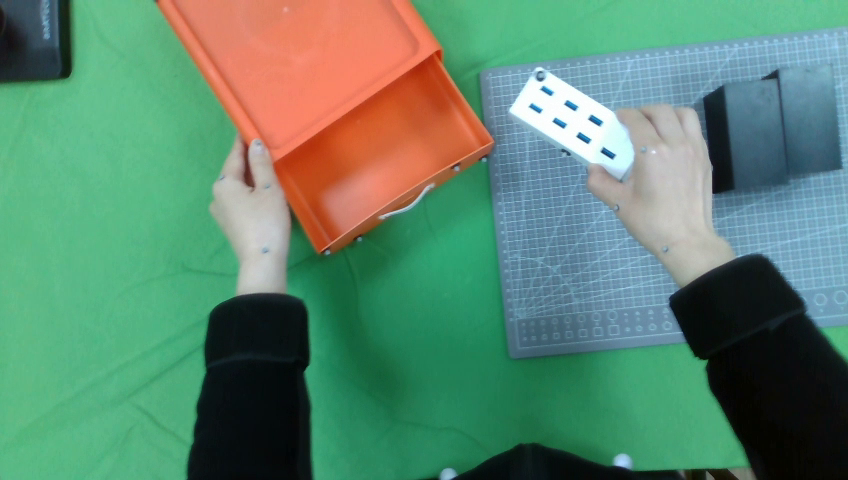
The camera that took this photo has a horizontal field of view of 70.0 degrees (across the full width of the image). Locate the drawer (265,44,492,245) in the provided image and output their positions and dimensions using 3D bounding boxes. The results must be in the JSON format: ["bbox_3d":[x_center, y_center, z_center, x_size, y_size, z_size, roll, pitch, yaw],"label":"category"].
[{"bbox_3d":[-0.071,-0.131,0.594,0.194,0.073,0.211,-32,87,2],"label":"drawer"}]

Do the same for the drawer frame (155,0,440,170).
[{"bbox_3d":[-0.124,-0.211,0.591,0.201,0.083,0.213,-35,88,2],"label":"drawer frame"}]

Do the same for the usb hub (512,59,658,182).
[{"bbox_3d":[0.144,-0.108,0.546,0.125,0.025,0.049,36,92,6],"label":"usb hub"}]
